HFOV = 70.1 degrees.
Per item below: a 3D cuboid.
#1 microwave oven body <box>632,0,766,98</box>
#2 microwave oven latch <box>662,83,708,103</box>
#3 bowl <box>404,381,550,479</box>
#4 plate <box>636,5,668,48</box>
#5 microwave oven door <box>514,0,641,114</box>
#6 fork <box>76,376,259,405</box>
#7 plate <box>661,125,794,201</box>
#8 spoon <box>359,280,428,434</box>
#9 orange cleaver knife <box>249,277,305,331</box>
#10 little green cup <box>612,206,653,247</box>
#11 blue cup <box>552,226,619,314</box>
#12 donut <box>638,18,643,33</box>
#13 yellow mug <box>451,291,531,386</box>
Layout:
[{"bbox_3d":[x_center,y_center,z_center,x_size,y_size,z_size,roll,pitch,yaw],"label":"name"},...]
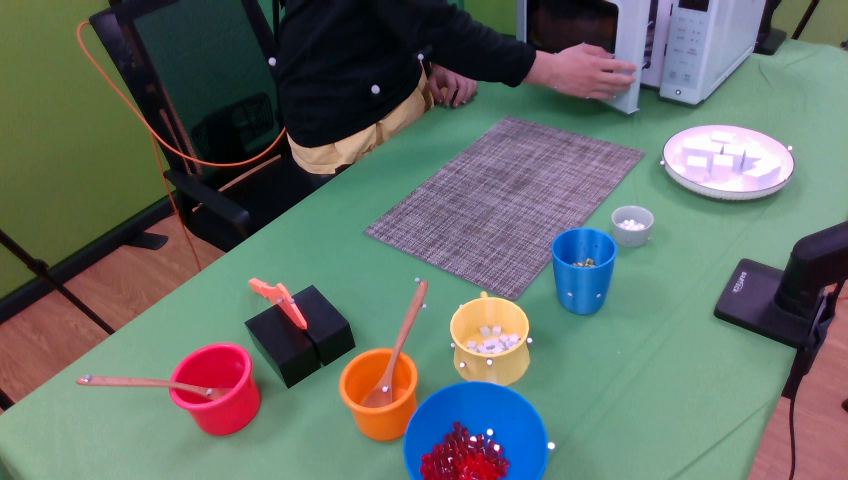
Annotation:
[{"bbox_3d":[0.472,-0.513,1.317,0.438,0.261,0.327,26,51,34],"label":"microwave oven body"},{"bbox_3d":[0.518,-0.297,1.204,0.078,0.029,0.030,29,53,36],"label":"microwave oven latch"},{"bbox_3d":[0.058,0.235,0.645,0.151,0.077,0.150,-4,39,4],"label":"bowl"},{"bbox_3d":[0.435,-0.474,1.357,0.209,0.038,0.208,-4,41,4],"label":"plate"},{"bbox_3d":[0.308,-0.432,1.239,0.039,0.245,0.352,-27,44,-21],"label":"microwave oven door"},{"bbox_3d":[-0.295,0.176,0.716,0.209,0.018,0.028,19,27,-37],"label":"fork"},{"bbox_3d":[0.513,-0.128,1.035,0.207,0.039,0.206,-4,40,4],"label":"plate"},{"bbox_3d":[-0.032,0.138,0.719,0.041,0.193,0.022,22,4,30],"label":"spoon"},{"bbox_3d":[-0.210,0.088,0.856,0.012,0.077,0.210,-28,15,-25],"label":"orange cleaver knife"},{"bbox_3d":[0.321,-0.019,0.936,0.061,0.039,0.061,-4,41,4],"label":"little green cup"},{"bbox_3d":[0.218,0.047,0.825,0.092,0.101,0.092,-6,40,5],"label":"blue cup"},{"bbox_3d":[0.436,-0.475,1.345,0.099,0.048,0.098,-6,27,4],"label":"donut"},{"bbox_3d":[0.086,0.120,0.786,0.100,0.064,0.130,-7,39,1],"label":"yellow mug"}]
